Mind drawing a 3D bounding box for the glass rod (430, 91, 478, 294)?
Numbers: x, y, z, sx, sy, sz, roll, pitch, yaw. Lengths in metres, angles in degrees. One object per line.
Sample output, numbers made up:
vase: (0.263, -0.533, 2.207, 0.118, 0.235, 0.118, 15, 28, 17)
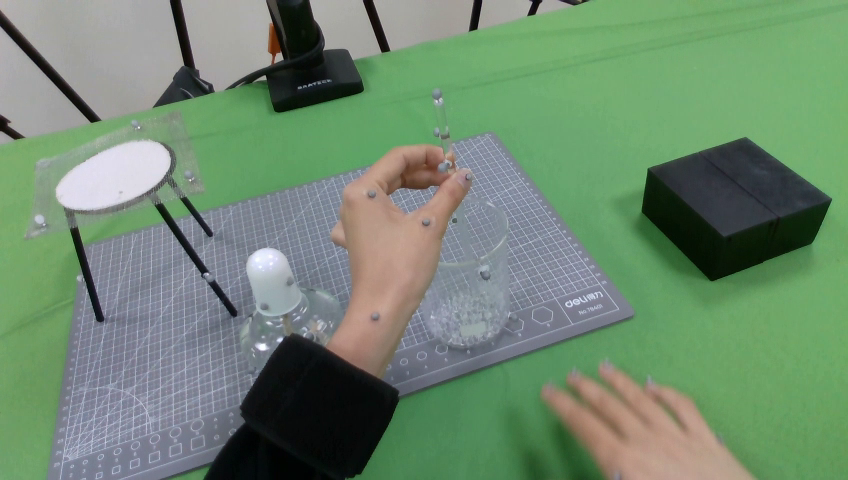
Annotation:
glass rod: (0.024, -0.021, 0.431, 0.008, 0.202, 0.008, -7, 48, 8)

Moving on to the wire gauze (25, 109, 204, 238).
wire gauze: (-0.240, -0.054, 0.465, 0.125, 0.011, 0.120, -21, 44, -12)

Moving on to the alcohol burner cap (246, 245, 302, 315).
alcohol burner cap: (-0.105, 0.026, 0.418, 0.034, 0.048, 0.033, -4, 40, 4)

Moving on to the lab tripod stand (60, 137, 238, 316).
lab tripod stand: (-0.231, -0.006, 0.511, 0.148, 0.133, 0.147, -5, 45, 5)

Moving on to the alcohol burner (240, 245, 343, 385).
alcohol burner: (-0.101, 0.051, 0.443, 0.078, 0.120, 0.077, -6, 41, 5)

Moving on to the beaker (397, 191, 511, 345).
beaker: (0.026, 0.026, 0.459, 0.084, 0.101, 0.073, -20, 43, -10)
